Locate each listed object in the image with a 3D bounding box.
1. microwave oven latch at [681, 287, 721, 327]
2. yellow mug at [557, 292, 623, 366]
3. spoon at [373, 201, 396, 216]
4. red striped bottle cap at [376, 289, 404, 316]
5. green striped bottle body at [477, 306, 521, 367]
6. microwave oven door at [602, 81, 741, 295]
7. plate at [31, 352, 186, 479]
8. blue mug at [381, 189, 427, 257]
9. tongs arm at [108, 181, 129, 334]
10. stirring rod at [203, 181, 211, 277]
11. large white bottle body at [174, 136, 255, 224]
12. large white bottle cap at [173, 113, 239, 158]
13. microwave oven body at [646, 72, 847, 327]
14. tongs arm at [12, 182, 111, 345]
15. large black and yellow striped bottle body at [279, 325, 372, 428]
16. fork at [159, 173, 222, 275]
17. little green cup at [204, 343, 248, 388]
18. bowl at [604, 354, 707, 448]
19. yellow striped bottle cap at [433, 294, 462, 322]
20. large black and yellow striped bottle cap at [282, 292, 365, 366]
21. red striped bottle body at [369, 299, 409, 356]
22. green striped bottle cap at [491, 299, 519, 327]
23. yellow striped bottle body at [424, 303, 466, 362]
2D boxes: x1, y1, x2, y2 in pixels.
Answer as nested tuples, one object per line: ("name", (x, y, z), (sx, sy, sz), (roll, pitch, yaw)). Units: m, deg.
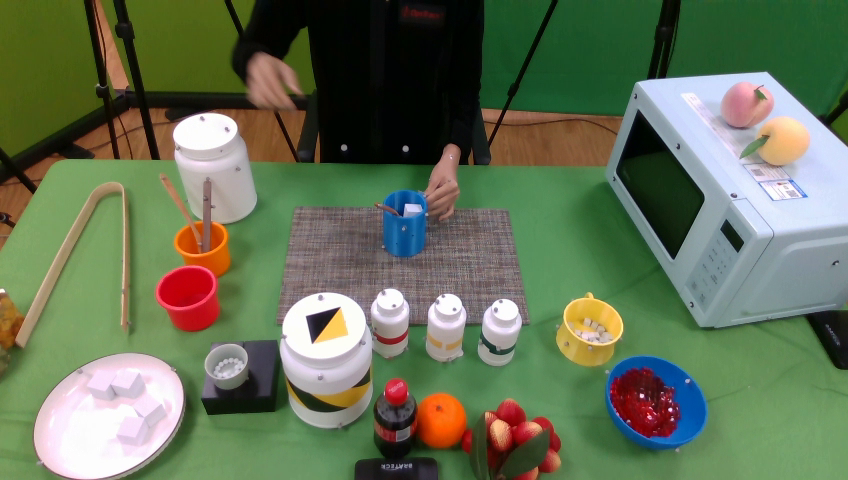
("microwave oven latch", (0.494, 0.119, 1.087), (0.030, 0.029, 0.078), (-6, 46, -9))
("yellow mug", (0.285, 0.145, 1.051), (0.100, 0.064, 0.130), (7, 45, 4))
("spoon", (-0.059, -0.044, 1.115), (0.041, 0.194, 0.021), (36, 86, 20))
("red striped bottle cap", (-0.054, 0.098, 0.958), (0.044, 0.018, 0.044), (0, 48, 0))
("green striped bottle body", (0.124, 0.151, 0.995), (0.063, 0.120, 0.063), (2, 46, -2))
("microwave oven door", (0.456, -0.107, 1.162), (0.039, 0.245, 0.353), (-7, 47, -11))
("plate", (-0.459, 0.262, 0.898), (0.209, 0.038, 0.208), (2, 46, -2))
("blue mug", (-0.031, -0.041, 1.173), (0.082, 0.106, 0.116), (28, 51, 21))
("tongs arm", (-0.571, 0.019, 1.123), (0.051, 0.026, 0.382), (-10, 47, -12))
("stirring rod", (-0.396, -0.021, 1.107), (0.014, 0.006, 0.176), (-1, 89, -1))
("large white bottle body", (-0.408, -0.137, 1.183), (0.131, 0.185, 0.130), (2, 46, -2))
("large white bottle cap", (-0.403, -0.195, 1.122), (0.115, 0.018, 0.114), (2, 47, -2))
("microwave oven body", (0.607, -0.089, 1.164), (0.326, 0.261, 0.438), (-7, 46, -10))
("tongs arm", (-0.657, 0.027, 1.109), (0.028, 0.028, 0.385), (-2, 45, 1))
("large black and yellow striped bottle body", (-0.143, 0.181, 0.900), (0.131, 0.185, 0.130), (2, 46, -2))
("fork", (-0.427, -0.029, 1.103), (0.028, 0.018, 0.207), (-31, 99, -30))
("little green cup", (-0.294, 0.190, 0.909), (0.061, 0.039, 0.061), (1, 48, 0))
("bowl", (0.346, 0.261, 0.937), (0.151, 0.077, 0.150), (2, 46, -2))
("yellow striped bottle cap", (0.037, 0.107, 0.958), (0.044, 0.019, 0.044), (2, 45, -2))
("large black and yellow striped bottle cap", (-0.138, 0.121, 0.841), (0.115, 0.019, 0.114), (3, 47, -3))
("red striped bottle body", (-0.058, 0.134, 0.997), (0.063, 0.120, 0.062), (4, 47, -4))
("green striped bottle cap", (0.128, 0.115, 0.958), (0.044, 0.020, 0.044), (1, 47, -1))
("yellow striped bottle body", (0.035, 0.143, 0.995), (0.063, 0.121, 0.062), (3, 46, -3))
